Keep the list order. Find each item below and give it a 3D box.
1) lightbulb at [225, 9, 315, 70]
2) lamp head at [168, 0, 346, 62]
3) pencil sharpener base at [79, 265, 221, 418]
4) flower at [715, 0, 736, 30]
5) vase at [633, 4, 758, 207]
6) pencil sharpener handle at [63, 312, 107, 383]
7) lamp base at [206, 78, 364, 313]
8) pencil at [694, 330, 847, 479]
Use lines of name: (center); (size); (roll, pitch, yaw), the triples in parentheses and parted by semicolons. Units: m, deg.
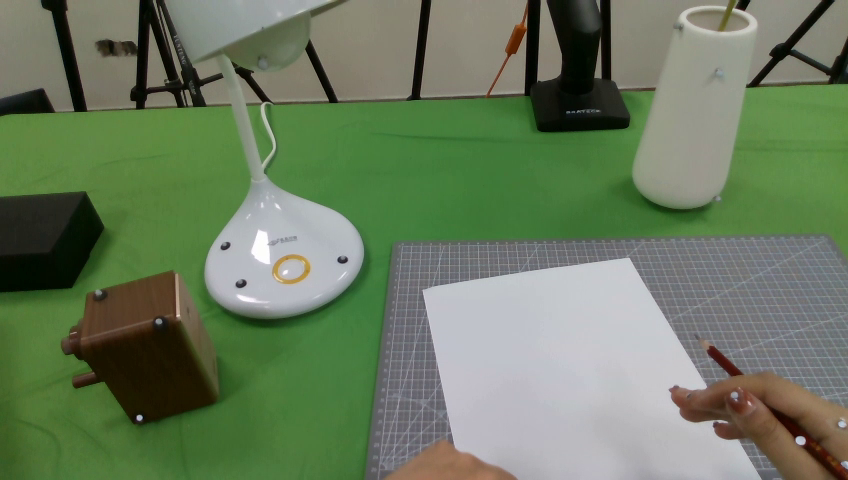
lightbulb: (-0.102, -0.156, 0.359); (0.059, 0.108, 0.059); (-12, 19, 5)
lamp head: (-0.112, -0.180, 0.356); (0.112, 0.123, 0.112); (-23, 16, 8)
pencil sharpener base: (-0.217, 0.084, 0.488); (0.077, 0.108, 0.060); (-15, 43, -12)
flower: (0.266, -0.180, 0.556); (0.043, 0.365, 0.038); (39, 70, 22)
vase: (0.277, -0.133, 0.626); (0.098, 0.202, 0.097); (-3, 40, 3)
pencil sharpener handle: (-0.266, 0.087, 0.469); (0.031, 0.068, 0.035); (-15, 47, -12)
lamp base: (-0.152, -0.050, 0.580); (0.161, 0.182, 0.177); (-22, 42, -20)
pencil: (0.214, 0.107, 0.352); (0.012, 0.012, 0.192); (-11, 28, -8)
